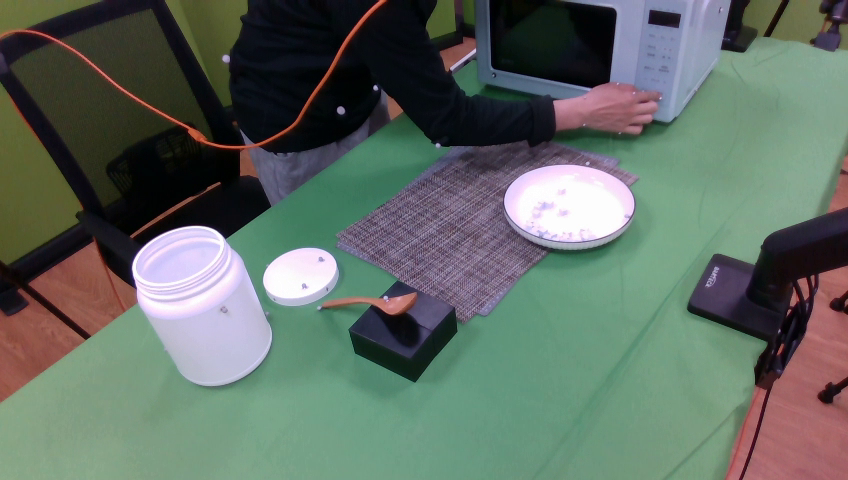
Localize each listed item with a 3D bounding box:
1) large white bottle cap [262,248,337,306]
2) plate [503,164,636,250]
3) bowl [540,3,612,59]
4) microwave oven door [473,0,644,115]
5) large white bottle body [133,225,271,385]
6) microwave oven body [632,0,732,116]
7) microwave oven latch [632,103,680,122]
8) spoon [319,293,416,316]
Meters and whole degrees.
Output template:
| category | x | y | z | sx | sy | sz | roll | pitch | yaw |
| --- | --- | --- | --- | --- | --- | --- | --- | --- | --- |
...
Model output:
| category | x | y | z | sx | sy | sz | roll | pitch | yaw |
| --- | --- | --- | --- | --- | --- | --- | --- | --- | --- |
| large white bottle cap | -0.193 | 0.055 | 0.934 | 0.115 | 0.018 | 0.114 | -4 | 41 | 4 |
| plate | 0.232 | -0.051 | 0.977 | 0.209 | 0.038 | 0.208 | -3 | 41 | 3 |
| bowl | 0.323 | -0.441 | 1.298 | 0.151 | 0.077 | 0.150 | -4 | 42 | 4 |
| microwave oven door | 0.257 | -0.396 | 1.199 | 0.353 | 0.245 | 0.039 | 21 | 48 | 29 |
| large white bottle body | -0.285 | 0.084 | 0.784 | 0.130 | 0.185 | 0.130 | -4 | 41 | 4 |
| microwave oven body | 0.377 | -0.463 | 1.267 | 0.438 | 0.261 | 0.327 | 21 | 49 | 30 |
| microwave oven latch | 0.443 | -0.249 | 1.158 | 0.078 | 0.029 | 0.030 | 20 | 48 | 29 |
| spoon | -0.082 | 0.086 | 0.827 | 0.192 | 0.022 | 0.041 | -3 | 38 | 41 |
